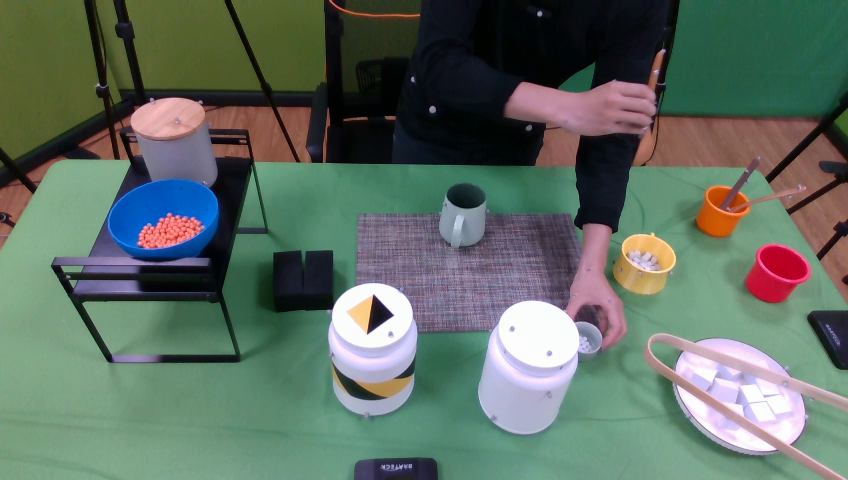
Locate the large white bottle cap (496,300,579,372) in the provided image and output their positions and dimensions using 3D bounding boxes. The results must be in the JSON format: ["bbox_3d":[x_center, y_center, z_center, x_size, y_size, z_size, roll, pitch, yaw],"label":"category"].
[{"bbox_3d":[0.159,0.133,0.852,0.115,0.018,0.114,3,46,-3],"label":"large white bottle cap"}]

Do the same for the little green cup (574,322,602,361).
[{"bbox_3d":[0.269,0.175,1.036,0.061,0.039,0.061,1,50,-1],"label":"little green cup"}]

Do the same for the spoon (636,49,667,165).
[{"bbox_3d":[0.351,-0.200,0.935,0.041,0.195,0.021,-27,40,-25],"label":"spoon"}]

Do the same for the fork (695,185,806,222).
[{"bbox_3d":[0.658,-0.074,1.229,0.207,0.019,0.028,-23,36,37],"label":"fork"}]

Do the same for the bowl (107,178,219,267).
[{"bbox_3d":[-0.374,-0.014,0.893,0.151,0.077,0.150,2,46,-2],"label":"bowl"}]

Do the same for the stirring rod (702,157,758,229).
[{"bbox_3d":[0.634,-0.097,1.257,0.014,0.006,0.176,38,97,29],"label":"stirring rod"}]

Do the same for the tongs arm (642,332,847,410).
[{"bbox_3d":[0.546,0.227,0.968,0.384,0.026,0.050,22,52,13],"label":"tongs arm"}]

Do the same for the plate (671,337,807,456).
[{"bbox_3d":[0.503,0.254,0.984,0.208,0.039,0.206,2,46,-2],"label":"plate"}]

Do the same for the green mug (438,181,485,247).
[{"bbox_3d":[0.071,-0.039,1.177,0.092,0.105,0.124,12,47,7],"label":"green mug"}]

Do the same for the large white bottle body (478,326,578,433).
[{"bbox_3d":[0.156,0.192,0.913,0.131,0.185,0.130,2,46,-2],"label":"large white bottle body"}]

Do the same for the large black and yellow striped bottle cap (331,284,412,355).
[{"bbox_3d":[-0.073,0.110,0.858,0.115,0.019,0.114,2,46,-2],"label":"large black and yellow striped bottle cap"}]

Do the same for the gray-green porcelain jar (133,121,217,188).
[{"bbox_3d":[-0.397,-0.141,0.980,0.106,0.127,0.105,2,47,-2],"label":"gray-green porcelain jar"}]

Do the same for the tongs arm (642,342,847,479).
[{"bbox_3d":[0.504,0.279,0.918,0.386,0.028,0.028,33,59,22],"label":"tongs arm"}]

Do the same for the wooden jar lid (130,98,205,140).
[{"bbox_3d":[-0.393,-0.183,0.934,0.108,0.021,0.107,3,44,-2],"label":"wooden jar lid"}]

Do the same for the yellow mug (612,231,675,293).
[{"bbox_3d":[0.424,0.033,1.168,0.100,0.064,0.130,18,46,13],"label":"yellow mug"}]

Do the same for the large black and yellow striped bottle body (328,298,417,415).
[{"bbox_3d":[-0.078,0.167,0.920,0.131,0.185,0.130,2,46,-2],"label":"large black and yellow striped bottle body"}]
